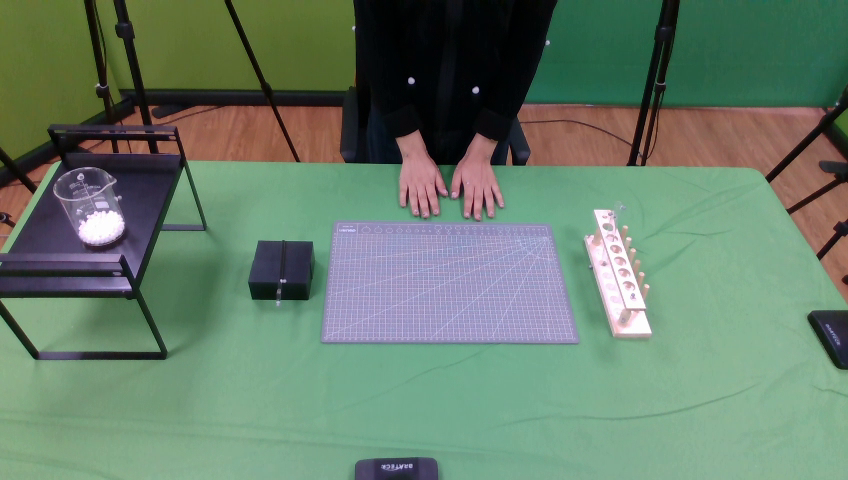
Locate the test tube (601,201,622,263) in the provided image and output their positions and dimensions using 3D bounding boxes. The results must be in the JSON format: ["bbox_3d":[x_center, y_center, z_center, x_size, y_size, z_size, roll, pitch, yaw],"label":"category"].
[{"bbox_3d":[0.346,-0.012,1.123,0.017,0.151,0.017,-2,45,2],"label":"test tube"}]

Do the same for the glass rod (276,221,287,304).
[{"bbox_3d":[-0.255,0.036,1.086,0.008,0.008,0.198,-2,46,-6],"label":"glass rod"}]

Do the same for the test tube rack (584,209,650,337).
[{"bbox_3d":[0.365,0.056,1.129,0.067,0.085,0.240,1,46,-4],"label":"test tube rack"}]

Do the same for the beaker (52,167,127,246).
[{"bbox_3d":[-0.490,-0.048,0.902,0.084,0.101,0.073,-15,49,-18],"label":"beaker"}]
